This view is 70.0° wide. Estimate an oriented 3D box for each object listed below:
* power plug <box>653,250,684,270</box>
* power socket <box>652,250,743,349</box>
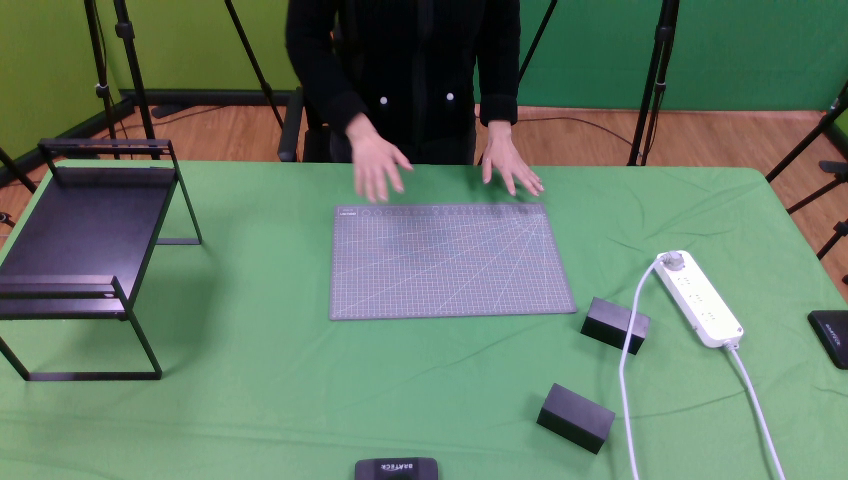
[{"bbox_3d":[0.459,0.040,1.155,0.072,0.053,0.035,0,46,-5],"label":"power plug"},{"bbox_3d":[0.503,0.104,1.127,0.072,0.033,0.225,-8,48,-11],"label":"power socket"}]
